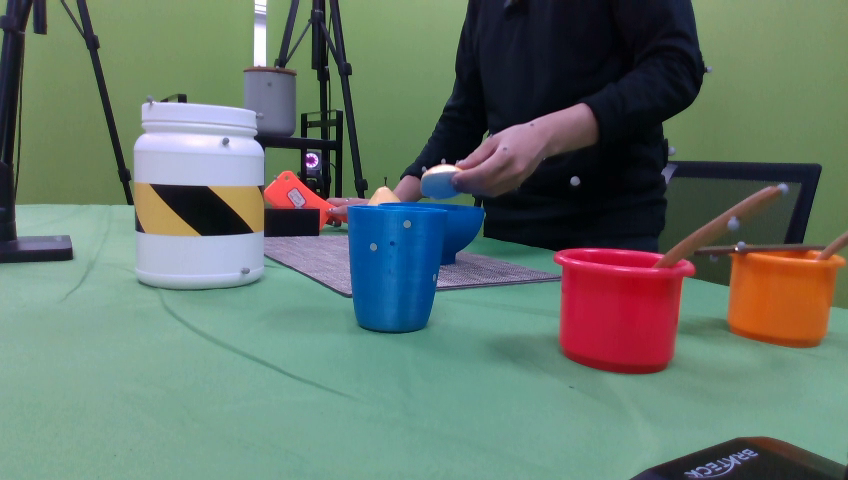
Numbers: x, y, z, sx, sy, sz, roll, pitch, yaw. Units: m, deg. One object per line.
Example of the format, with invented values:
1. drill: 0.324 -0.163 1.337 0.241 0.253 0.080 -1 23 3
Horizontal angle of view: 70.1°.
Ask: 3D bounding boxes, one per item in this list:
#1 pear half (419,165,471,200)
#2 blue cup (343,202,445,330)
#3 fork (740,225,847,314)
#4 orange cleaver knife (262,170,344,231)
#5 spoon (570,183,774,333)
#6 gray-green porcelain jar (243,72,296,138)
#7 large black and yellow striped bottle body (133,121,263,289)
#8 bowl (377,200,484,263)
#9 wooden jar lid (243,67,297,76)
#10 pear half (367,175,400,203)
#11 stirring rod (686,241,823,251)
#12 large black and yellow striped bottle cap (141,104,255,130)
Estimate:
1. pear half: 0.023 -0.086 0.843 0.070 0.031 0.088 -36 -33 28
2. blue cup: -0.027 0.021 0.510 0.093 0.100 0.092 3 5 0
3. fork: 0.323 0.013 0.485 0.028 0.018 0.207 9 -38 -5
4. orange cleaver knife: -0.201 -0.057 1.137 0.212 0.077 0.012 31 -4 -31
5. spoon: 0.160 0.020 0.413 0.042 0.021 0.193 0 -36 -24
6. gray-green porcelain jar: -0.322 -0.279 1.263 0.106 0.126 0.106 3 8 0
7. large black and yellow striped bottle body: -0.243 -0.048 0.659 0.131 0.184 0.130 2 7 0
8. bowl: 0.007 -0.012 0.842 0.151 0.077 0.151 3 7 0
9. wooden jar lid: -0.319 -0.342 1.254 0.108 0.020 0.108 3 8 0
10. pear half: -0.064 -0.061 1.077 0.055 0.110 0.077 9 13 39
11. stirring rod: 0.289 0.005 0.525 0.177 0.006 0.014 -1 5 -26
12. large black and yellow striped bottle cap: -0.241 -0.131 0.650 0.115 0.019 0.115 3 8 0
